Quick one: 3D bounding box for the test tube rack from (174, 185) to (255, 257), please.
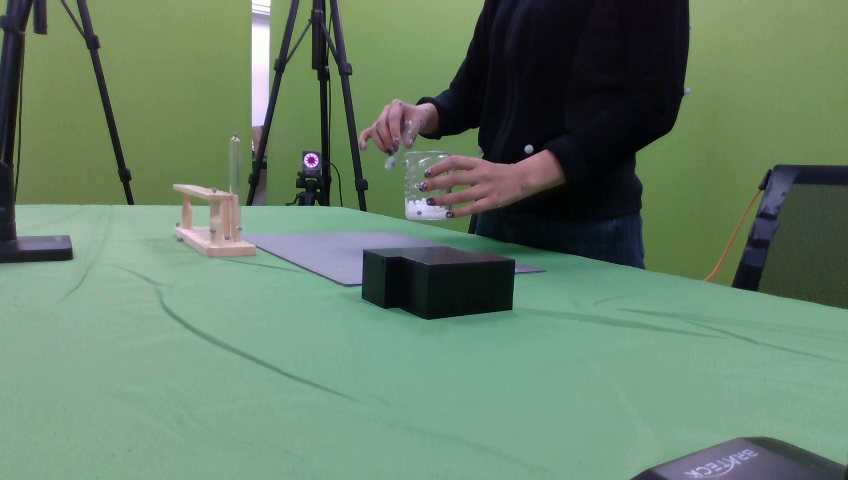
[{"bbox_3d":[-0.324,-0.035,0.922,0.067,0.085,0.241,-2,9,-32],"label":"test tube rack"}]

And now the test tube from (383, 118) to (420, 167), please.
[{"bbox_3d":[-0.038,-0.156,0.984,0.017,0.017,0.150,-1,-19,-22],"label":"test tube"}]

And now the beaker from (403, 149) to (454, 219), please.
[{"bbox_3d":[0.005,-0.082,0.902,0.074,0.100,0.083,-1,3,-19],"label":"beaker"}]

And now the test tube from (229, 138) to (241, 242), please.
[{"bbox_3d":[-0.270,-0.071,0.866,0.017,0.150,0.017,2,8,0],"label":"test tube"}]
